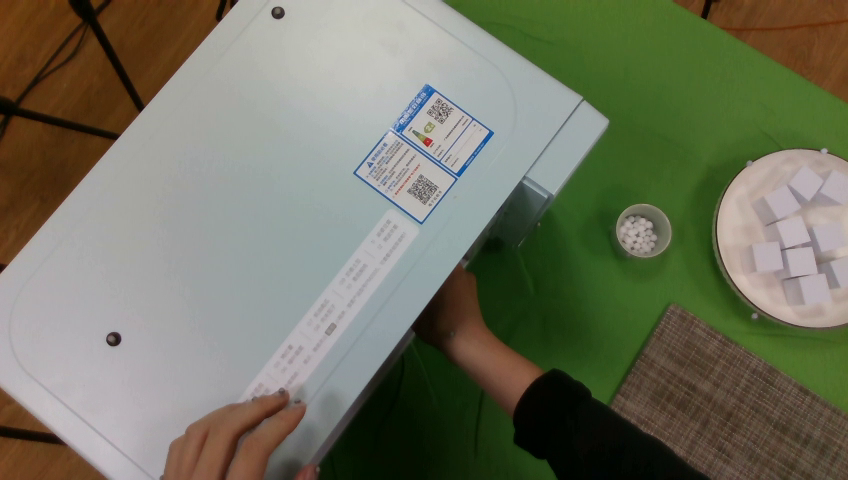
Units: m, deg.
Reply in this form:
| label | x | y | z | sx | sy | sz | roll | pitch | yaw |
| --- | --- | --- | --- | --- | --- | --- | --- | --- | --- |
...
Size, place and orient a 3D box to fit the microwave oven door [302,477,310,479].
| label | x | y | z | sx | sy | sz | roll | pitch | yaw |
| --- | --- | --- | --- | --- | --- | --- | --- | --- | --- |
| microwave oven door | 0.039 | 0.292 | 0.517 | 0.356 | 0.244 | 0.039 | 14 | 80 | 3 |

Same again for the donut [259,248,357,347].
| label | x | y | z | sx | sy | sz | roll | pitch | yaw |
| --- | --- | --- | --- | --- | --- | --- | --- | --- | --- |
| donut | -0.115 | 0.056 | 0.603 | 0.099 | 0.048 | 0.099 | 0 | 83 | 0 |

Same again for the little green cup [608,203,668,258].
| label | x | y | z | sx | sy | sz | roll | pitch | yaw |
| --- | --- | --- | --- | --- | --- | --- | --- | --- | --- |
| little green cup | 0.241 | -0.008 | 0.689 | 0.061 | 0.039 | 0.061 | 0 | 81 | 1 |

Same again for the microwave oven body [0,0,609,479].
| label | x | y | z | sx | sy | sz | roll | pitch | yaw |
| --- | --- | --- | --- | --- | --- | --- | --- | --- | --- |
| microwave oven body | -0.112 | -0.001 | 0.575 | 0.325 | 0.261 | 0.441 | 36 | 83 | 6 |

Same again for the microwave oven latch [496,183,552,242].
| label | x | y | z | sx | sy | sz | roll | pitch | yaw |
| --- | --- | --- | --- | --- | --- | --- | --- | --- | --- |
| microwave oven latch | 0.115 | -0.036 | 0.678 | 0.030 | 0.029 | 0.079 | 40 | 83 | 6 |

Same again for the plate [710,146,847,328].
| label | x | y | z | sx | sy | sz | roll | pitch | yaw |
| --- | --- | --- | --- | --- | --- | --- | --- | --- | --- |
| plate | 0.427 | -0.003 | 0.690 | 0.208 | 0.039 | 0.207 | 0 | 80 | 0 |

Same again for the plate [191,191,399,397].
| label | x | y | z | sx | sy | sz | roll | pitch | yaw |
| --- | --- | --- | --- | --- | --- | --- | --- | --- | --- |
| plate | -0.129 | 0.054 | 0.620 | 0.209 | 0.038 | 0.208 | 0 | 80 | -1 |
